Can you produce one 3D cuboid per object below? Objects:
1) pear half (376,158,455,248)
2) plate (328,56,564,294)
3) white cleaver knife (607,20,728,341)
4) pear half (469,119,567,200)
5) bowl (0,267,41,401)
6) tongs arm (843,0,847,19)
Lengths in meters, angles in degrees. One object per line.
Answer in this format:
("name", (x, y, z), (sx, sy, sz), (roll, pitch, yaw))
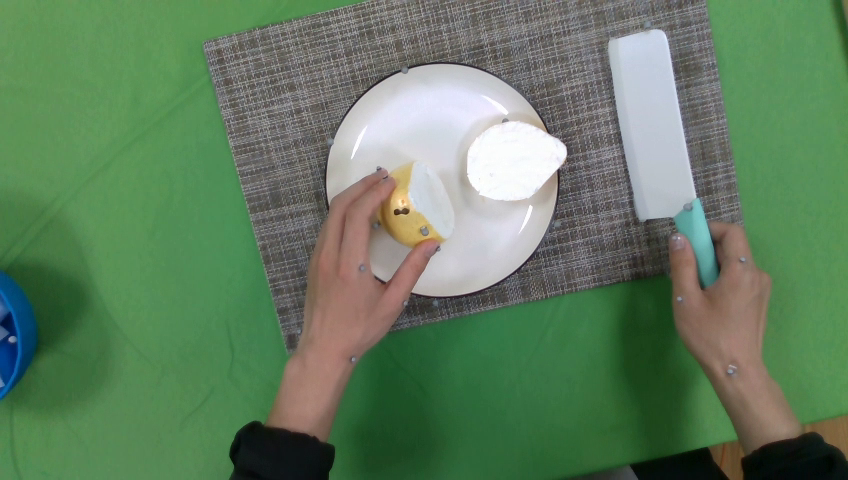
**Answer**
("pear half", (-0.015, -0.026, 0.507), (0.056, 0.110, 0.076), (-28, 87, 17))
("plate", (0.019, -0.056, 0.547), (0.208, 0.039, 0.208), (0, 98, 1))
("white cleaver knife", (0.215, -0.047, 0.536), (0.021, 0.065, 0.287), (-18, 97, -34))
("pear half", (0.084, -0.072, 0.538), (0.088, 0.031, 0.070), (-7, 96, 19))
("bowl", (-0.414, 0.079, 0.553), (0.151, 0.076, 0.151), (0, 98, 1))
("tongs arm", (0.414, -0.135, 0.540), (0.028, 0.027, 0.388), (-20, 97, 2))
